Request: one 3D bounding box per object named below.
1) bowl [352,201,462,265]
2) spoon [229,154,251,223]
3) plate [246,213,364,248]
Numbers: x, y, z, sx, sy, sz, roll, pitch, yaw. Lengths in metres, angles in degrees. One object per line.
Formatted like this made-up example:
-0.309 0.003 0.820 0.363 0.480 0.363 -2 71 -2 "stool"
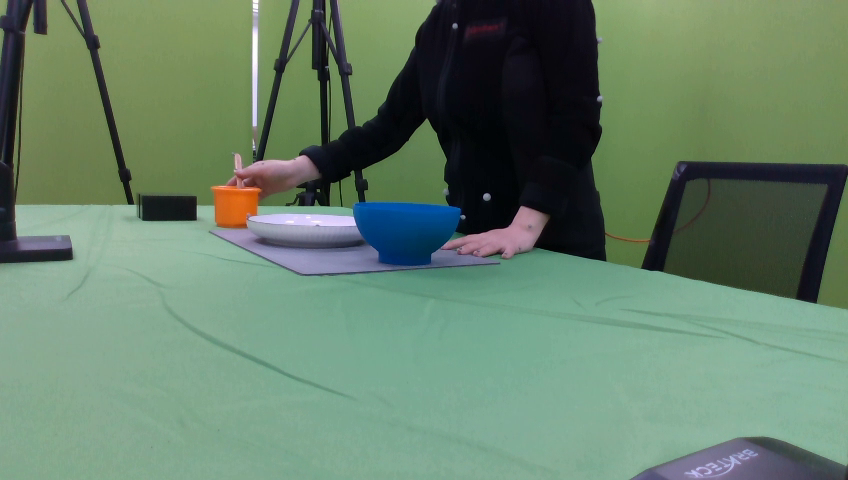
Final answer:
-0.025 -0.009 0.831 0.151 0.077 0.151 3 7 0 "bowl"
-0.369 -0.106 1.207 0.042 0.193 0.021 1 -36 -20 "spoon"
-0.185 -0.017 0.994 0.209 0.038 0.209 3 8 0 "plate"
